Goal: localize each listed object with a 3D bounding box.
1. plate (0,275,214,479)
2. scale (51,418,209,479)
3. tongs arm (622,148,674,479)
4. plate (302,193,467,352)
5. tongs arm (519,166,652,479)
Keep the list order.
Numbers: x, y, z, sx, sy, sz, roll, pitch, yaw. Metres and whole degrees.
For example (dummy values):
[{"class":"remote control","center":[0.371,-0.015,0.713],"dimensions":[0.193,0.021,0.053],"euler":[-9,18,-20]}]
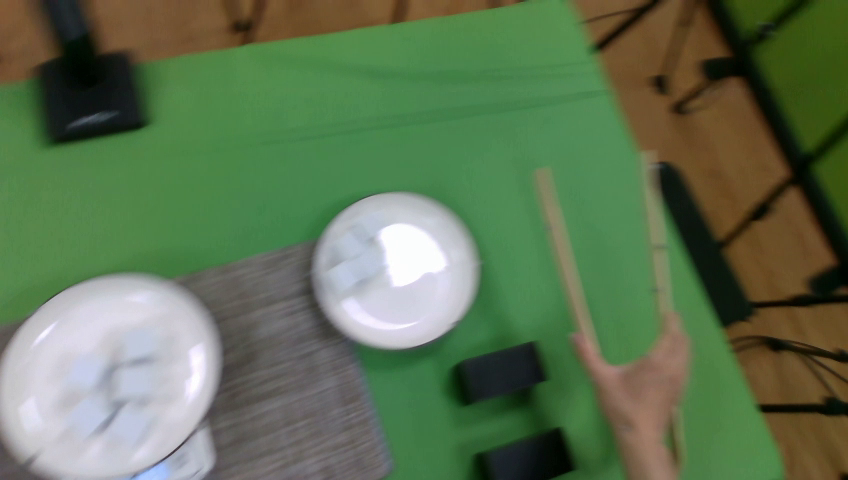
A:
[{"class":"plate","center":[-0.327,0.139,0.630],"dimensions":[0.210,0.038,0.207],"euler":[5,69,-12]},{"class":"scale","center":[-0.329,0.178,0.651],"dimensions":[0.149,0.031,0.199],"euler":[-16,75,-19]},{"class":"tongs arm","center":[0.253,0.082,0.718],"dimensions":[0.051,0.026,0.384],"euler":[-7,85,-12]},{"class":"plate","center":[-0.050,0.042,0.772],"dimensions":[0.208,0.039,0.206],"euler":[5,69,-12]},{"class":"tongs arm","center":[0.181,0.096,0.705],"dimensions":[0.028,0.028,0.387],"euler":[-18,87,-16]}]
